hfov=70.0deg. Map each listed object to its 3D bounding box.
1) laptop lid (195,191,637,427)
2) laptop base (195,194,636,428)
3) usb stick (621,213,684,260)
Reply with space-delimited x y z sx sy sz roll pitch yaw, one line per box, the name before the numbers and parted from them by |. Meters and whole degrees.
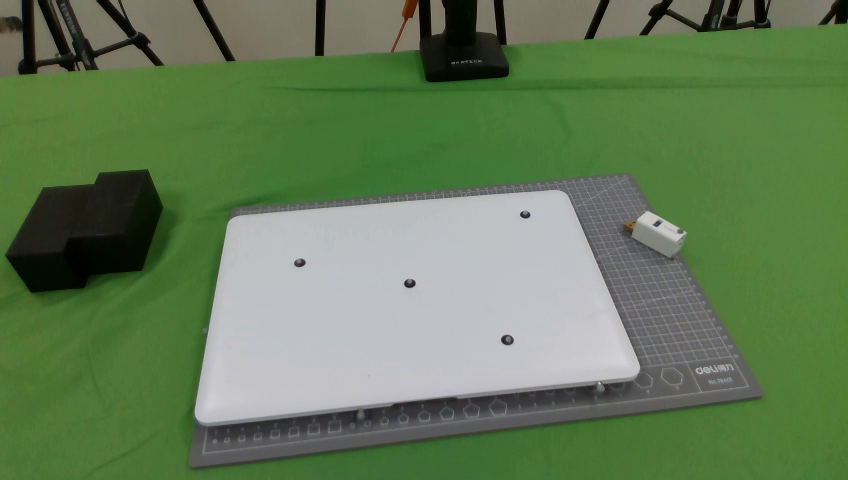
laptop lid | -0.013 0.044 0.548 0.357 0.013 0.239 -4 46 -3
laptop base | -0.013 0.051 0.558 0.355 0.023 0.233 -5 47 -4
usb stick | 0.226 -0.007 0.607 0.021 0.027 0.058 -34 50 -30
